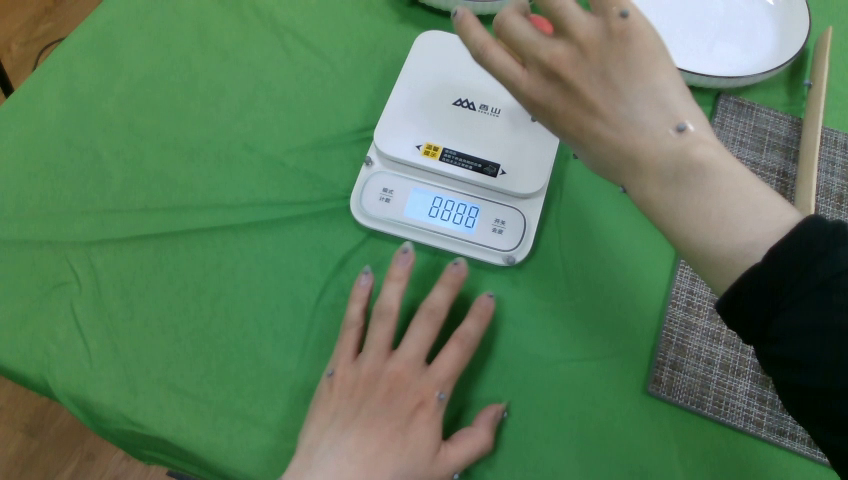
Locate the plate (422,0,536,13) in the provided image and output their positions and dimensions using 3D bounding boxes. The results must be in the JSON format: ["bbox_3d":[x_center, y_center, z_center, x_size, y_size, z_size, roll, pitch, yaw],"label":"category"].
[{"bbox_3d":[0.049,-0.301,0.614,0.208,0.039,0.206,1,62,-2],"label":"plate"}]

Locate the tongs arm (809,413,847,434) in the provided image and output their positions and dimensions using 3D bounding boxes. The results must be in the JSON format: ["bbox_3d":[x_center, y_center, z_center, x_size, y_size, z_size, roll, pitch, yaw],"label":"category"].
[{"bbox_3d":[0.392,-0.006,0.478,0.050,0.027,0.383,32,66,13],"label":"tongs arm"}]

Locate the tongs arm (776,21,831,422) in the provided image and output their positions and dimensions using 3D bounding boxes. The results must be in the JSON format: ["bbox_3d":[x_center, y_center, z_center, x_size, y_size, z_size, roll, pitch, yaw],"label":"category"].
[{"bbox_3d":[0.318,-0.042,0.495,0.028,0.028,0.385,21,63,4],"label":"tongs arm"}]

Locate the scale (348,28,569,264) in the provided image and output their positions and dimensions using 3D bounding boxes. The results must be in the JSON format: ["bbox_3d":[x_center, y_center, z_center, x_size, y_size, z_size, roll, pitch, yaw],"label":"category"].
[{"bbox_3d":[0.035,-0.085,0.505,0.148,0.032,0.199,17,63,6],"label":"scale"}]

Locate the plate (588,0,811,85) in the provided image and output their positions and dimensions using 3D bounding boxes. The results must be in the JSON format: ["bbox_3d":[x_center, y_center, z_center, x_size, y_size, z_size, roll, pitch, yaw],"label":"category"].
[{"bbox_3d":[0.259,-0.225,0.586,0.209,0.038,0.207,1,62,-2],"label":"plate"}]

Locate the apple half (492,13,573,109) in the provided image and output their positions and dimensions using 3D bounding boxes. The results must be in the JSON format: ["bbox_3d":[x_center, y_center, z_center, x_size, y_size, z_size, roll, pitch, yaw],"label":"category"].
[{"bbox_3d":[0.090,-0.138,0.455,0.033,0.082,0.080,-40,70,-7],"label":"apple half"}]
